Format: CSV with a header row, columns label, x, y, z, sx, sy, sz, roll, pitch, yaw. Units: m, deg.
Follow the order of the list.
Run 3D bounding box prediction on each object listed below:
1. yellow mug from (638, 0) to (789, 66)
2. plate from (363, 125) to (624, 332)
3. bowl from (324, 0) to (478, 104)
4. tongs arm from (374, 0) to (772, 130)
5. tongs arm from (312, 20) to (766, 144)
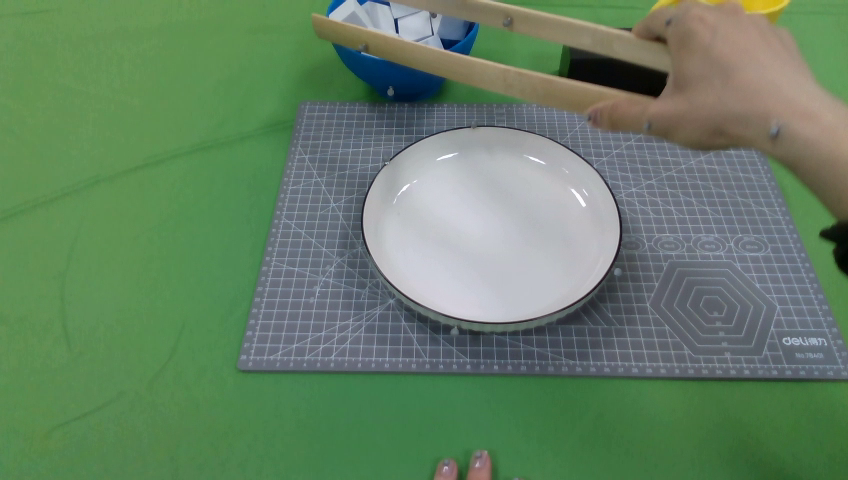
label,x,y,z,sx,sy,sz,roll,pitch,yaw
yellow mug,0.263,-0.208,0.567,0.131,0.064,0.099,-12,53,-7
plate,0.055,-0.011,0.499,0.208,0.039,0.205,0,53,1
bowl,-0.021,-0.193,0.616,0.151,0.077,0.150,-1,52,1
tongs arm,0.079,-0.161,0.484,0.381,0.027,0.050,26,60,32
tongs arm,0.050,-0.131,0.467,0.384,0.028,0.028,23,55,31
